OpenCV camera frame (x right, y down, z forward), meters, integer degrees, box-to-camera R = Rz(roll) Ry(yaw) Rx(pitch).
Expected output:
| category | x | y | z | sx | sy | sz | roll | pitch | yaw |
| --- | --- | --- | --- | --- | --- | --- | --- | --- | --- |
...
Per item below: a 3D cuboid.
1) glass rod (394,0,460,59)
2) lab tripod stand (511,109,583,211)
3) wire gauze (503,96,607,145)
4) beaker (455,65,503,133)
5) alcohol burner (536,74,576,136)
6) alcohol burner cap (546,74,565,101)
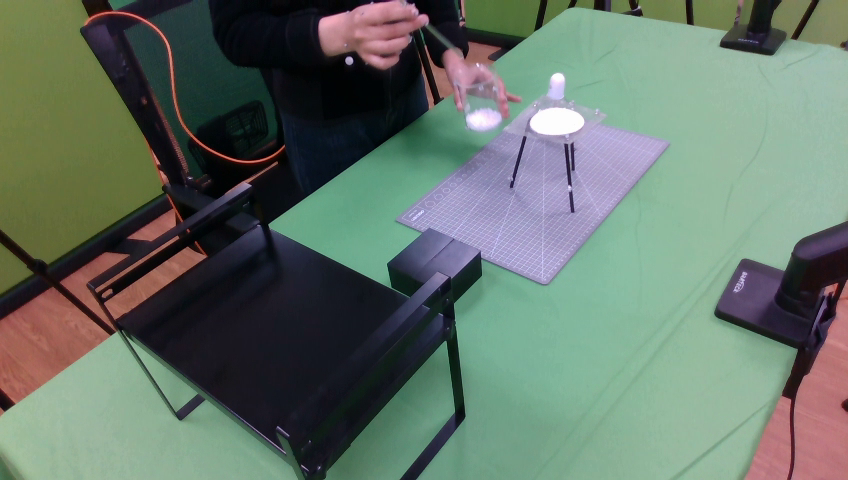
| category | x | y | z | sx | sy | sz | roll | pitch | yaw |
| --- | --- | --- | --- | --- | --- | --- | --- | --- | --- |
| glass rod | 0.002 | -0.315 | 0.889 | 0.008 | 0.201 | 0.008 | -9 | 72 | 32 |
| lab tripod stand | 0.220 | -0.138 | 1.014 | 0.148 | 0.132 | 0.147 | -3 | 41 | 3 |
| wire gauze | 0.211 | -0.192 | 0.975 | 0.120 | 0.011 | 0.125 | 24 | 49 | 32 |
| beaker | 0.101 | -0.250 | 1.077 | 0.073 | 0.101 | 0.084 | 5 | 47 | 23 |
| alcohol burner | 0.256 | -0.265 | 1.173 | 0.078 | 0.119 | 0.077 | -6 | 40 | 6 |
| alcohol burner cap | 0.251 | -0.292 | 1.150 | 0.034 | 0.048 | 0.033 | 0 | 40 | 0 |
